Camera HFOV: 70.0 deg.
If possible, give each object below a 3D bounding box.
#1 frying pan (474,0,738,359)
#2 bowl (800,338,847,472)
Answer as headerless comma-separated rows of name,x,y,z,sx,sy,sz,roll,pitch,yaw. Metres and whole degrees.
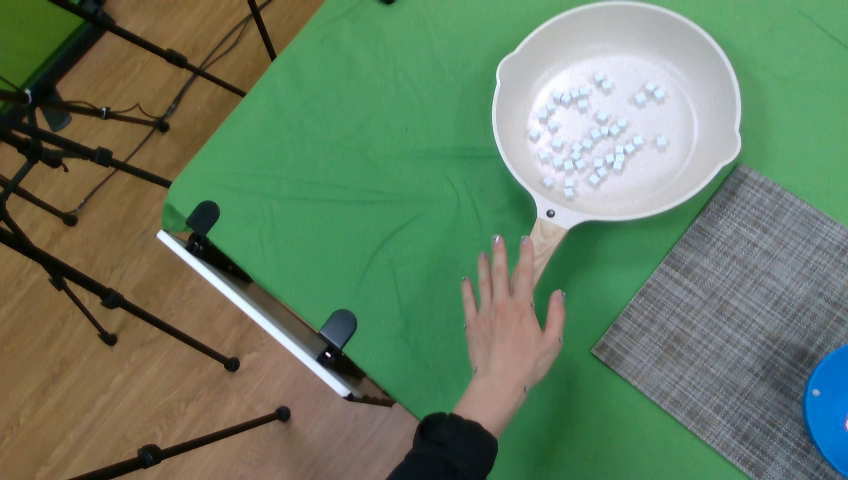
frying pan,0.180,-0.074,0.738,0.305,0.103,0.486,26,73,18
bowl,0.459,0.173,0.620,0.151,0.077,0.150,-3,74,11
